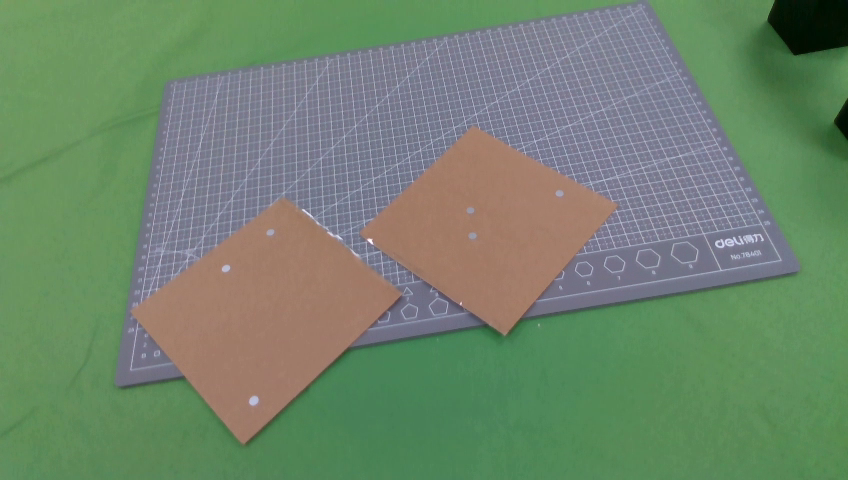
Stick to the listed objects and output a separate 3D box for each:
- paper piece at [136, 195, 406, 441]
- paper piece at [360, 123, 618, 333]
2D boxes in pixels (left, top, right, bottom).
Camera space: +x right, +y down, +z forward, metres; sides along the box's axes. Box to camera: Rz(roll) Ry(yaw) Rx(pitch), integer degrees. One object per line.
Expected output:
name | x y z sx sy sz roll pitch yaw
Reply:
paper piece | -0.107 0.042 0.414 0.138 0.009 0.134 -42 58 -19
paper piece | 0.046 -0.017 0.434 0.134 0.004 0.135 34 66 27
